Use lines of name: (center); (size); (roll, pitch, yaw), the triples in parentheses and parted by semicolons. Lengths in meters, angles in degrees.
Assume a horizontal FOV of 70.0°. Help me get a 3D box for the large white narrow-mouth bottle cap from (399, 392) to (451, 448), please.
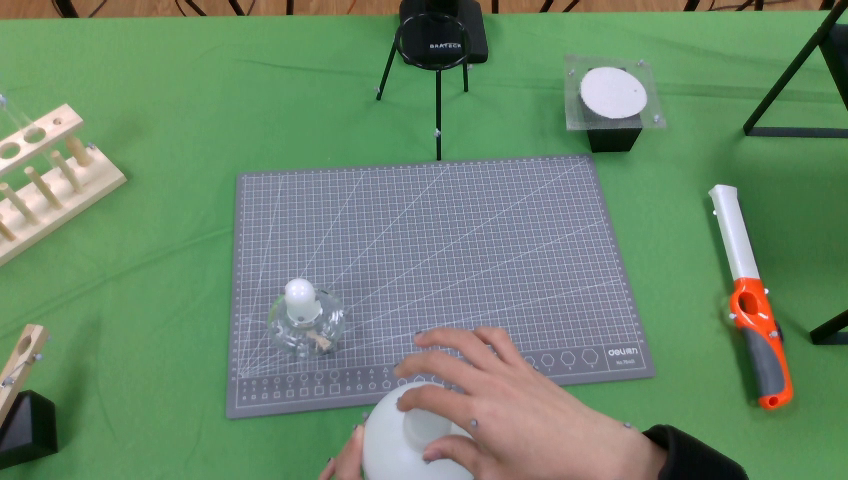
large white narrow-mouth bottle cap: (0.001, 0.130, 0.435); (0.038, 0.024, 0.037); (2, 61, -3)

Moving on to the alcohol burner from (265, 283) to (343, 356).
alcohol burner: (-0.121, 0.071, 0.602); (0.078, 0.120, 0.077); (3, 60, -4)

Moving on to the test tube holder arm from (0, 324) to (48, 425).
test tube holder arm: (-0.384, 0.159, 0.540); (0.013, 0.015, 0.177); (7, 62, 6)

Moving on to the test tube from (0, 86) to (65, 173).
test tube: (-0.426, -0.119, 0.646); (0.017, 0.151, 0.017); (0, 60, 0)

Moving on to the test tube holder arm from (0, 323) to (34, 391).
test tube holder arm: (-0.383, 0.120, 0.562); (0.010, 0.015, 0.087); (6, 62, 6)

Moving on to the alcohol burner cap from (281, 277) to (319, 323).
alcohol burner cap: (-0.119, 0.054, 0.570); (0.034, 0.048, 0.033); (1, 56, -1)

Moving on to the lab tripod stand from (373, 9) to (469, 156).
lab tripod stand: (0.006, -0.200, 0.750); (0.148, 0.132, 0.147); (3, 62, -4)

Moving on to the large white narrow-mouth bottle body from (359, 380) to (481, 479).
large white narrow-mouth bottle body: (-0.004, 0.174, 0.513); (0.102, 0.196, 0.101); (1, 61, -2)

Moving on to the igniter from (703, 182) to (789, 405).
igniter: (0.368, 0.052, 0.699); (0.057, 0.025, 0.274); (6, 61, -12)

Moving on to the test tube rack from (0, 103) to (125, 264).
test tube rack: (-0.463, -0.038, 0.656); (0.066, 0.086, 0.242); (41, 66, 17)

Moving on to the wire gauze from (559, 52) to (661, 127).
wire gauze: (0.235, -0.192, 0.777); (0.121, 0.011, 0.124); (3, 61, -2)
